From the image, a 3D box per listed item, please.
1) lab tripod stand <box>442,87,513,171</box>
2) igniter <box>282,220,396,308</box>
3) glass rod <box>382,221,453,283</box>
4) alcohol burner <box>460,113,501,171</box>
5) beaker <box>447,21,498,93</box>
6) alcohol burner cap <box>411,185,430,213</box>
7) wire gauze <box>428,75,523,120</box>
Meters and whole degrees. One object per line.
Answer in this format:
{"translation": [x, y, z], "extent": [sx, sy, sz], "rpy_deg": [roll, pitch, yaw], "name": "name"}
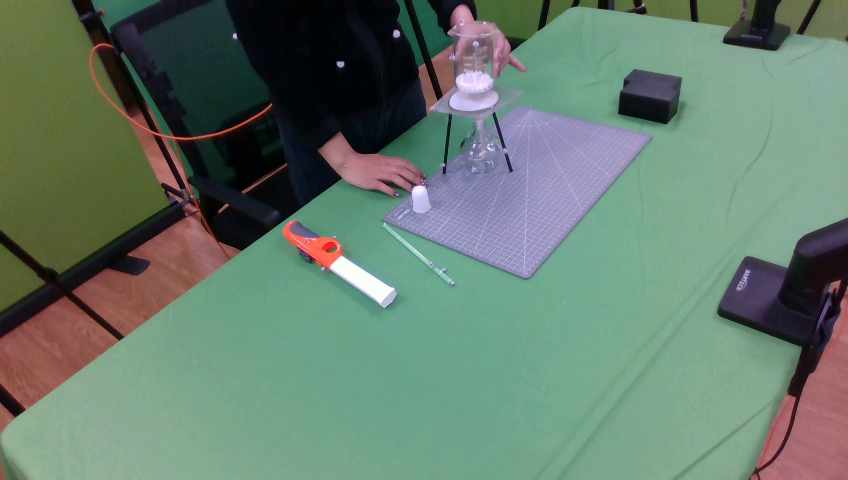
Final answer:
{"translation": [0.097, -0.200, 1.107], "extent": [0.148, 0.132, 0.147], "rpy_deg": [-4, 40, 4], "name": "lab tripod stand"}
{"translation": [-0.146, 0.032, 0.966], "extent": [0.274, 0.025, 0.057], "rpy_deg": [30, 65, 37], "name": "igniter"}
{"translation": [-0.014, 0.016, 0.976], "extent": [0.008, 0.008, 0.198], "rpy_deg": [-29, 44, -22], "name": "glass rod"}
{"translation": [0.103, -0.186, 1.106], "extent": [0.078, 0.119, 0.077], "rpy_deg": [-4, 42, 4], "name": "alcohol burner"}
{"translation": [0.082, -0.307, 1.023], "extent": [0.084, 0.100, 0.074], "rpy_deg": [2, 37, 8], "name": "beaker"}
{"translation": [-0.008, -0.074, 1.050], "extent": [0.034, 0.048, 0.033], "rpy_deg": [-3, 42, 3], "name": "alcohol burner cap"}
{"translation": [0.090, -0.250, 1.063], "extent": [0.120, 0.011, 0.125], "rpy_deg": [23, 50, 30], "name": "wire gauze"}
